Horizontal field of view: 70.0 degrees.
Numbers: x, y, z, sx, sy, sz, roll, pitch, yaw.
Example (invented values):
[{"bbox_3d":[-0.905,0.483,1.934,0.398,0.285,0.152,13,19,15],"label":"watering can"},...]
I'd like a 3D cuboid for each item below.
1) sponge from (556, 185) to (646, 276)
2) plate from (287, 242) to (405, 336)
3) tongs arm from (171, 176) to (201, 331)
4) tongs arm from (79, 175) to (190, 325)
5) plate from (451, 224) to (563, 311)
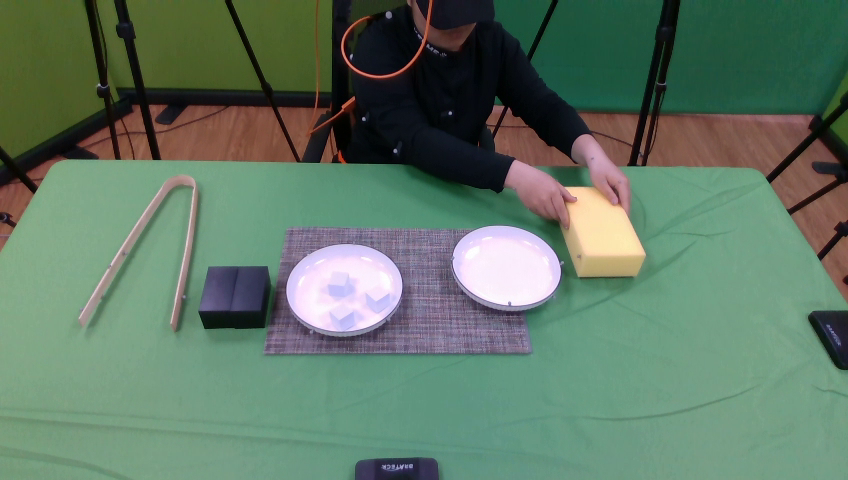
[{"bbox_3d":[0.347,-0.023,1.209,0.118,0.061,0.205,0,44,-5],"label":"sponge"},{"bbox_3d":[-0.138,0.090,1.084,0.208,0.039,0.206,2,46,-2],"label":"plate"},{"bbox_3d":[-0.453,0.010,1.151,0.028,0.028,0.385,-6,47,-6],"label":"tongs arm"},{"bbox_3d":[-0.534,0.005,1.145,0.051,0.026,0.382,6,45,0],"label":"tongs arm"},{"bbox_3d":[0.154,0.053,1.140,0.209,0.038,0.208,2,47,-2],"label":"plate"}]
